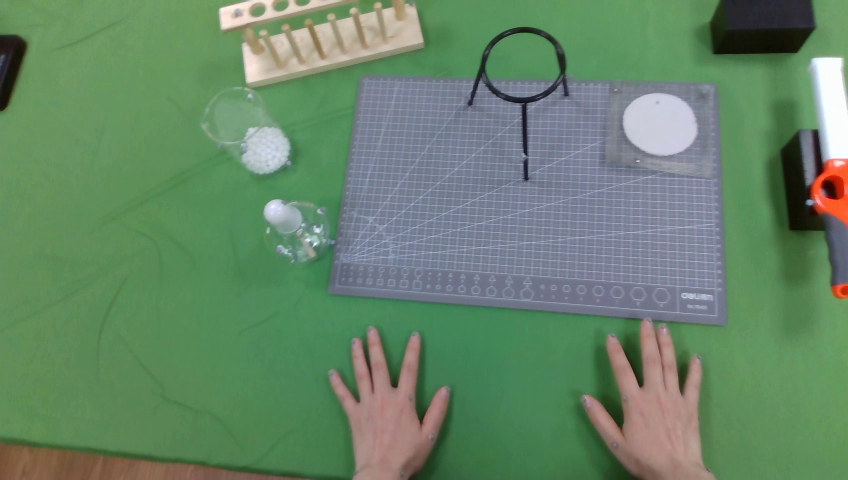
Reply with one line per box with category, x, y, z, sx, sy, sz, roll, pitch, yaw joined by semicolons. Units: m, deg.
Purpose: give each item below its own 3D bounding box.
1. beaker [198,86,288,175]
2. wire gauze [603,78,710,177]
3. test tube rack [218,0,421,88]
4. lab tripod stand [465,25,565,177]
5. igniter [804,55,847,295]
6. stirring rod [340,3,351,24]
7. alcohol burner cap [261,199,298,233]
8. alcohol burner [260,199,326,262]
beaker;-0.217;-0.129;0.745;0.084;0.101;0.073;-10;71;5
wire gauze;0.281;-0.140;0.732;0.125;0.011;0.121;8;74;7
test tube rack;-0.132;-0.275;0.787;0.242;0.086;0.066;-13;71;3
lab tripod stand;0.110;-0.165;0.694;0.148;0.132;0.147;-1;74;5
igniter;0.431;-0.075;0.636;0.057;0.025;0.275;3;70;11
stirring rod;-0.103;-0.329;0.717;0.014;0.177;0.006;11;62;10
alcohol burner cap;-0.161;-0.029;0.661;0.034;0.048;0.033;-1;76;6
alcohol burner;-0.155;-0.017;0.695;0.078;0.120;0.077;-2;70;5
